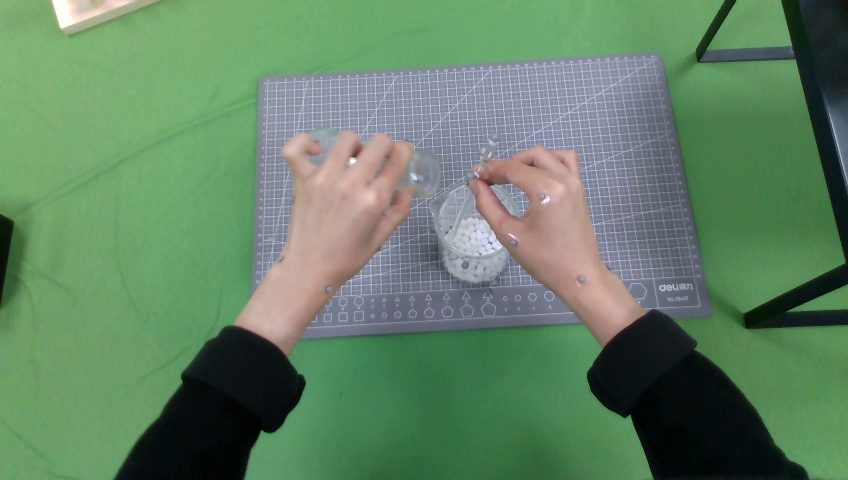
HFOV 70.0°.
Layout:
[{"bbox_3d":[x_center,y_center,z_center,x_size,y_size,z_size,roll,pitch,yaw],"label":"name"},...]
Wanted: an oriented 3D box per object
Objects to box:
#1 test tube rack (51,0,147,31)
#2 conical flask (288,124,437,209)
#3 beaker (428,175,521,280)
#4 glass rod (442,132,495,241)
[{"bbox_3d":[-0.327,-0.334,0.693,0.242,0.086,0.066,-23,73,-6],"label":"test tube rack"},{"bbox_3d":[-0.048,-0.060,0.505,0.121,0.076,0.075,6,69,36],"label":"conical flask"},{"bbox_3d":[0.045,-0.008,0.568,0.084,0.101,0.073,20,73,9],"label":"beaker"},{"bbox_3d":[0.033,-0.037,0.511,0.008,0.200,0.008,3,68,-7],"label":"glass rod"}]
